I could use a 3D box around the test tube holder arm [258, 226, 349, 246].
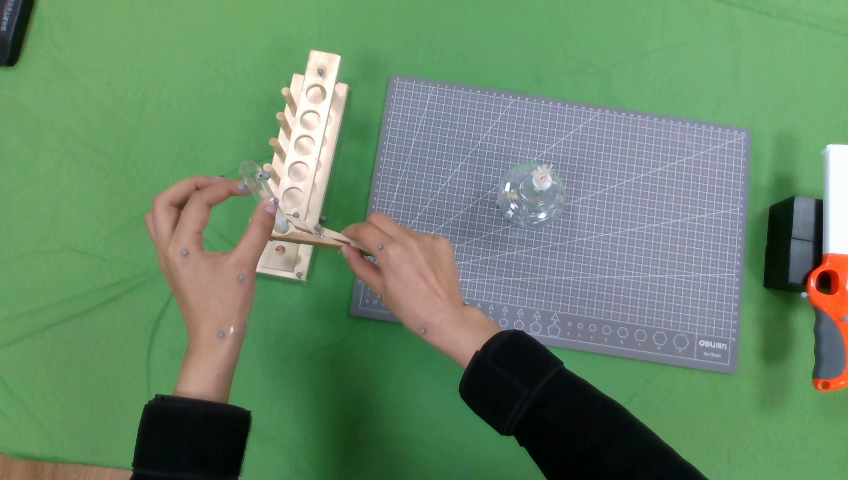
[{"bbox_3d":[-0.115,-0.004,0.582,0.088,0.015,0.010,5,82,4],"label":"test tube holder arm"}]

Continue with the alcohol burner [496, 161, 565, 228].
[{"bbox_3d":[0.120,-0.054,0.667,0.078,0.119,0.077,0,81,-1],"label":"alcohol burner"}]

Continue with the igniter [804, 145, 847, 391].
[{"bbox_3d":[0.451,0.028,0.665,0.057,0.025,0.275,6,79,11],"label":"igniter"}]

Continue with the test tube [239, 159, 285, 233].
[{"bbox_3d":[-0.136,-0.034,0.520,0.017,0.151,0.017,1,74,-5],"label":"test tube"}]

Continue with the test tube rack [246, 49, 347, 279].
[{"bbox_3d":[-0.147,-0.084,0.678,0.067,0.085,0.241,11,80,0],"label":"test tube rack"}]

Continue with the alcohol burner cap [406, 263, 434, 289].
[{"bbox_3d":[-0.003,0.037,0.682,0.034,0.048,0.033,1,80,-3],"label":"alcohol burner cap"}]

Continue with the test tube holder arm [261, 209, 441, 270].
[{"bbox_3d":[-0.070,0.000,0.579,0.178,0.015,0.013,15,83,5],"label":"test tube holder arm"}]
